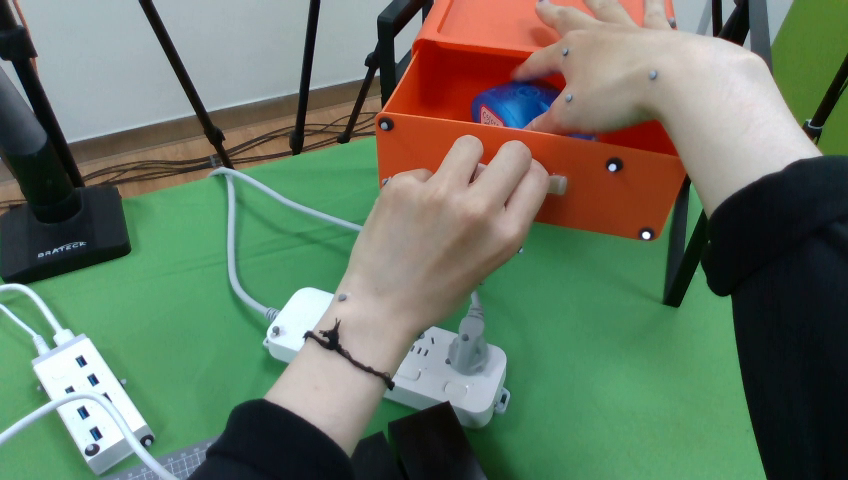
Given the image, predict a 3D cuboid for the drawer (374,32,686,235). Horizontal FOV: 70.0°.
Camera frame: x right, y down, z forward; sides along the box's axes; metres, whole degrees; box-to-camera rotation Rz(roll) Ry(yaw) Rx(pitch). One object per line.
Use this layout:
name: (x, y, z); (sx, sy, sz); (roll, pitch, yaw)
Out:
drawer: (0.085, -0.111, 0.461); (0.194, 0.074, 0.210); (10, 45, 9)

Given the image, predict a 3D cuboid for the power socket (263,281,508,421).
power socket: (-0.035, 0.094, 0.537); (0.226, 0.033, 0.072); (16, 45, 15)

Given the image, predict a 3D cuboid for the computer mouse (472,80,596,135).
computer mouse: (0.087, -0.088, 0.463); (0.063, 0.041, 0.116); (-14, 46, -20)

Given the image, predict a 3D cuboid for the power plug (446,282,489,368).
power plug: (0.047, 0.080, 0.522); (0.035, 0.053, 0.072); (25, 51, 23)

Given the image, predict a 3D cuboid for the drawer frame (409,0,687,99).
drawer frame: (0.107, -0.182, 0.530); (0.201, 0.083, 0.212); (8, 45, 8)

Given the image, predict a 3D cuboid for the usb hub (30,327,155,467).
usb hub: (-0.277, 0.126, 0.502); (0.049, 0.025, 0.124); (-33, 54, -30)
